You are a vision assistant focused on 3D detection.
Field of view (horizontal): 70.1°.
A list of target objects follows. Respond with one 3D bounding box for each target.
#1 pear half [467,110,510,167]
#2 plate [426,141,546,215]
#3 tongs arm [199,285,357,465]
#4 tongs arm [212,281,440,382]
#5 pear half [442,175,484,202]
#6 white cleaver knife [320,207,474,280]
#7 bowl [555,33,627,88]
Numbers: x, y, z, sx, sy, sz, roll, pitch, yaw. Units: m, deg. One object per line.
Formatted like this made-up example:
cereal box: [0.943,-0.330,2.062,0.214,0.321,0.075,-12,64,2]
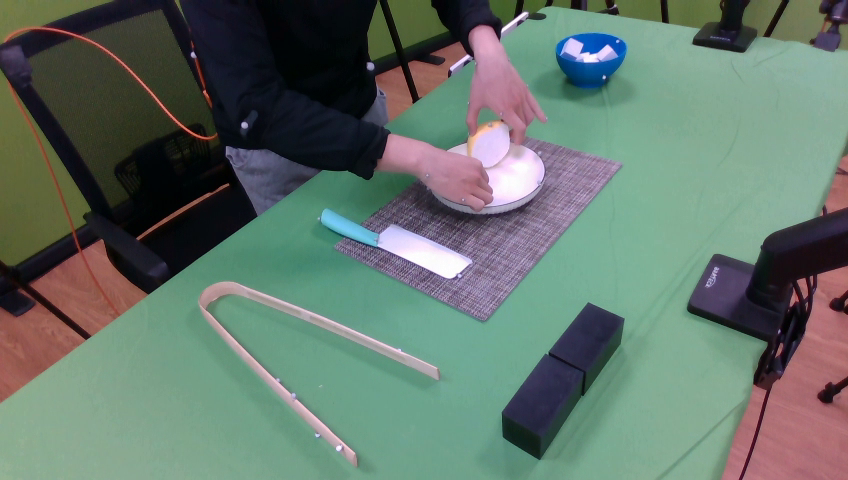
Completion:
pear half: [0.119,-0.190,1.078,0.077,0.109,0.055,11,36,-35]
plate: [0.109,-0.106,1.059,0.207,0.039,0.206,-4,41,4]
tongs arm: [-0.199,0.162,0.797,0.381,0.026,0.051,28,50,35]
tongs arm: [-0.148,0.121,0.846,0.385,0.028,0.028,17,48,25]
pear half: [0.064,-0.092,1.024,0.070,0.031,0.087,-19,22,-2]
white cleaver knife: [-0.052,-0.001,0.977,0.284,0.021,0.066,24,44,26]
bowl: [0.360,-0.384,1.318,0.151,0.077,0.150,-4,41,4]
